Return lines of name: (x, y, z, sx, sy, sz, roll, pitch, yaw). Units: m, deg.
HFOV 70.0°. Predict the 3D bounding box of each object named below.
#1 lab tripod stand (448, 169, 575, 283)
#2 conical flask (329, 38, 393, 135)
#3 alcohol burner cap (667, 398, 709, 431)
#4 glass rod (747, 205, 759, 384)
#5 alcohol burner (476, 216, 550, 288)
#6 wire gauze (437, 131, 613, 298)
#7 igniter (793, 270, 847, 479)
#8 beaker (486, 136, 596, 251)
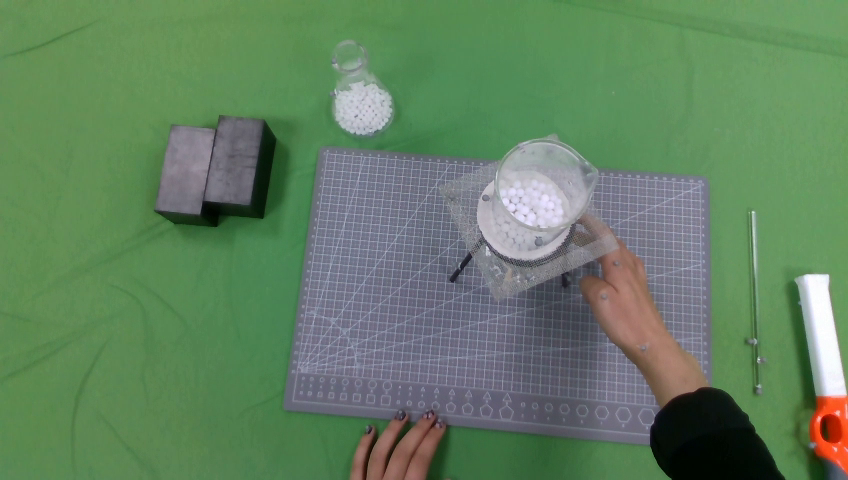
lab tripod stand: (0.091, -0.005, 0.615, 0.148, 0.132, 0.147, 0, 79, 1)
conical flask: (-0.074, -0.171, 0.662, 0.075, 0.122, 0.075, 0, 76, 1)
alcohol burner cap: (0.272, 0.178, 0.618, 0.034, 0.048, 0.033, 0, 77, 1)
glass rod: (0.362, 0.056, 0.666, 0.008, 0.008, 0.199, 5, 77, 1)
alcohol burner: (0.094, 0.008, 0.622, 0.078, 0.119, 0.077, 0, 76, -1)
wire gauze: (0.092, -0.024, 0.552, 0.125, 0.011, 0.121, -24, 81, -6)
igniter: (0.422, 0.168, 0.630, 0.057, 0.025, 0.275, 1, 77, -10)
beaker: (0.092, -0.034, 0.505, 0.084, 0.100, 0.073, -16, 79, -3)
